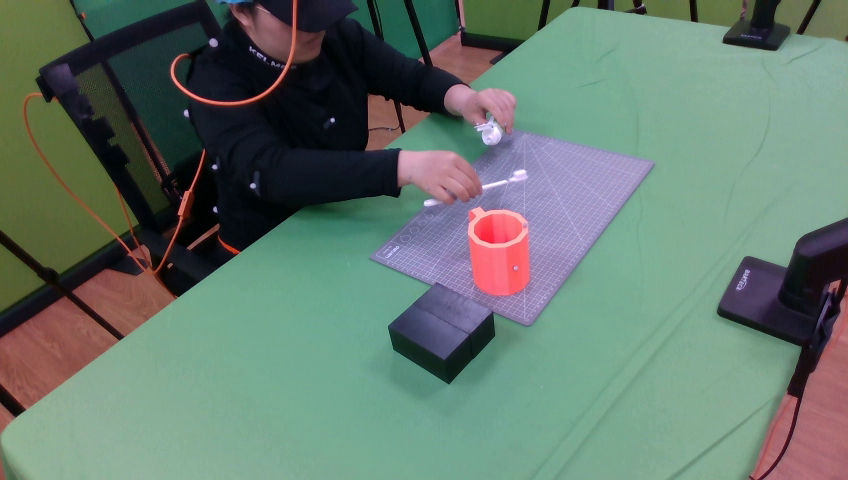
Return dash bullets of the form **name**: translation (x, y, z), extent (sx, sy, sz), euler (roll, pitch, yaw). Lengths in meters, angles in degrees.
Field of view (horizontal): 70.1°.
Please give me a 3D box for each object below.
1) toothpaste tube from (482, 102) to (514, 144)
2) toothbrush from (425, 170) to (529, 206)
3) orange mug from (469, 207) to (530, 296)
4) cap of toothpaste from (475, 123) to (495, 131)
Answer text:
- **toothpaste tube**: translation (0.137, -0.215, 1.127), extent (0.034, 0.055, 0.165), euler (-27, 14, 29)
- **toothbrush**: translation (0.089, -0.086, 1.009), extent (0.182, 0.017, 0.014), euler (-16, 53, -4)
- **orange mug**: translation (0.104, 0.008, 0.894), extent (0.084, 0.101, 0.125), euler (-22, 46, -14)
- **cap of toothpaste**: translation (0.106, -0.195, 1.044), extent (0.037, 0.011, 0.037), euler (-7, 10, 2)
